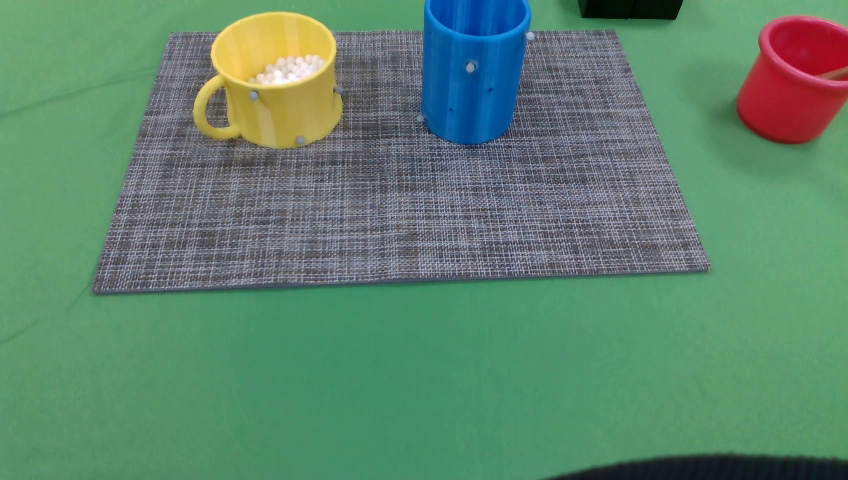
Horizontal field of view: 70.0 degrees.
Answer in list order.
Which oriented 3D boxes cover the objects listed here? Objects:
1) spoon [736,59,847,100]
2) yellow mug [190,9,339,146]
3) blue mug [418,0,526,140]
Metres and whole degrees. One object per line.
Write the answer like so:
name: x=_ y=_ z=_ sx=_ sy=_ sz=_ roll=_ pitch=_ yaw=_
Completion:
spoon: x=0.358 y=-0.144 z=0.496 sx=0.041 sy=0.193 sz=0.022 roll=-43 pitch=111 yaw=-32
yellow mug: x=-0.136 y=-0.129 z=0.505 sx=0.131 sy=0.064 sz=0.099 roll=-38 pitch=64 yaw=-25
blue mug: x=0.047 y=-0.159 z=0.511 sx=0.082 sy=0.107 sz=0.116 roll=35 pitch=60 yaw=21
